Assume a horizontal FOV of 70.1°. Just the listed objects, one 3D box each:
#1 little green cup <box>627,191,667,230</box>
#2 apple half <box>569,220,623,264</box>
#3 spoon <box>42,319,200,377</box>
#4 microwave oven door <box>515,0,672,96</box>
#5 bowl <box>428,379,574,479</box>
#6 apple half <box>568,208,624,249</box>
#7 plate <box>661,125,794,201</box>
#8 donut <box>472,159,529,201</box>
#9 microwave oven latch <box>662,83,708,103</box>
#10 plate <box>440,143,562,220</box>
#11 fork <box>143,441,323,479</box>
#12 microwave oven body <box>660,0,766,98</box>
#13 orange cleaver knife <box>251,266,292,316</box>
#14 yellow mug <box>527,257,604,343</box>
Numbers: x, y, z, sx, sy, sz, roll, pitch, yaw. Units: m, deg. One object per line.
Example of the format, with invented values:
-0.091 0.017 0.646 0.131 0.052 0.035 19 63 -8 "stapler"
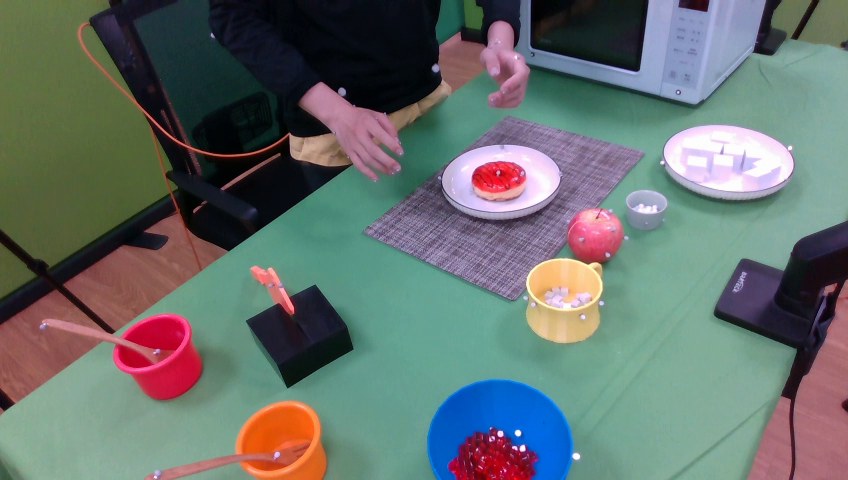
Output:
0.352 -0.046 0.963 0.061 0.039 0.061 -4 40 4 "little green cup"
0.251 0.010 0.884 0.081 0.081 0.032 3 37 12 "apple half"
-0.385 0.135 0.779 0.195 0.021 0.041 29 37 -26 "spoon"
0.344 -0.455 1.259 0.353 0.245 0.039 26 51 33 "microwave oven door"
0.082 0.233 0.644 0.151 0.077 0.150 -4 40 4 "bowl"
0.259 -0.014 0.914 0.080 0.075 0.053 0 36 15 "apple half"
0.513 -0.128 1.035 0.207 0.039 0.206 -4 40 4 "plate"
0.132 -0.105 1.043 0.099 0.048 0.098 -5 38 4 "donut"
0.517 -0.296 1.204 0.078 0.029 0.030 27 52 35 "microwave oven latch"
0.134 -0.098 1.052 0.209 0.038 0.208 -4 40 4 "plate"
-0.189 0.231 0.631 0.028 0.018 0.209 36 13 37 "fork"
0.472 -0.513 1.317 0.438 0.261 0.327 26 51 34 "microwave oven body"
-0.221 0.071 0.873 0.012 0.077 0.210 -25 11 -21 "orange cleaver knife"
0.201 0.072 0.825 0.131 0.064 0.099 -32 46 -27 "yellow mug"
